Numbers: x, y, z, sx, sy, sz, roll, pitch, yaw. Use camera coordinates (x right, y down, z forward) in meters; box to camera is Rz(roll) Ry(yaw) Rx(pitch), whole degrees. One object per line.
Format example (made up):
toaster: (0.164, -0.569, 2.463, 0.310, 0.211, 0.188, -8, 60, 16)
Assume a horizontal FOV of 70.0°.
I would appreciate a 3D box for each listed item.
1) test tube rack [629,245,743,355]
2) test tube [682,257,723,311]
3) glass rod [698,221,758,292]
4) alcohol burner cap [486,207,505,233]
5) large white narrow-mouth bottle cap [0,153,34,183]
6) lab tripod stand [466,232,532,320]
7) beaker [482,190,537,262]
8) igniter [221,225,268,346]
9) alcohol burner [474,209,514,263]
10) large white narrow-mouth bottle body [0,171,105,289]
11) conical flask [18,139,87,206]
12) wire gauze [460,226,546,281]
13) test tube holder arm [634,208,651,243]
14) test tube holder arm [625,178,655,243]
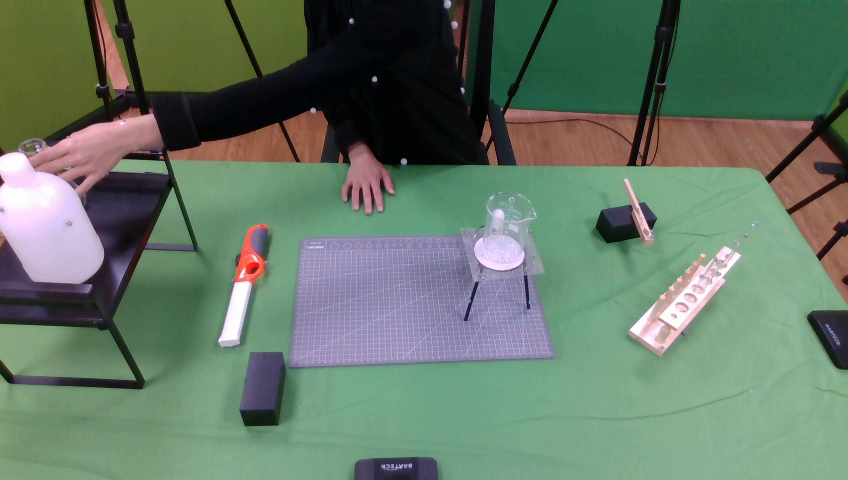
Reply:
test tube rack: (0.474, 0.095, 1.091, 0.242, 0.085, 0.066, -34, 56, -31)
test tube: (0.475, 0.080, 1.037, 0.017, 0.151, 0.017, 1, 50, -1)
glass rod: (0.527, 0.035, 1.059, 0.008, 0.200, 0.008, 5, 49, -6)
alcohol burner cap: (0.135, -0.039, 1.125, 0.034, 0.048, 0.033, 5, 41, -4)
large white narrow-mouth bottle cap: (-0.510, -0.090, 0.754, 0.038, 0.024, 0.037, 2, 46, -2)
lab tripod stand: (0.125, 0.059, 1.065, 0.148, 0.132, 0.147, 1, 45, 0)
beaker: (0.136, -0.019, 0.983, 0.084, 0.101, 0.073, 17, 47, 14)
igniter: (-0.323, 0.072, 1.100, 0.057, 0.025, 0.274, -6, 45, 5)
alcohol burner: (0.134, -0.013, 1.150, 0.078, 0.120, 0.077, 0, 47, 0)
large white narrow-mouth bottle body: (-0.513, -0.029, 0.818, 0.102, 0.195, 0.101, 2, 46, -2)
conical flask: (-0.576, -0.096, 0.929, 0.075, 0.122, 0.075, 2, 46, -2)
wire gauze: (0.130, 0.017, 1.016, 0.121, 0.011, 0.124, -4, 43, -9)
test tube holder arm: (0.428, -0.030, 1.189, 0.010, 0.015, 0.087, 2, 47, -3)
test tube holder arm: (0.433, -0.062, 1.220, 0.013, 0.015, 0.177, 2, 47, -3)
